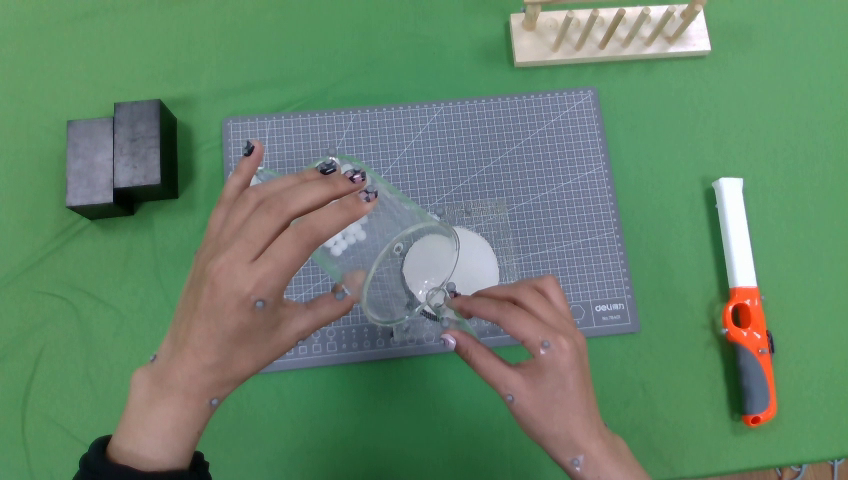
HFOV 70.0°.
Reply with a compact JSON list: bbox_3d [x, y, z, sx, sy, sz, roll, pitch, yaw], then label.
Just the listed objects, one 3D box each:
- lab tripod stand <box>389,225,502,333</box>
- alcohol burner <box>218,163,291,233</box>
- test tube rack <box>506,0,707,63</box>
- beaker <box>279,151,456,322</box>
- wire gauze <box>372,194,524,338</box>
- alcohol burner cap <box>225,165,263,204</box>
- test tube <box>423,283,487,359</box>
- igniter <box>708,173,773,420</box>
[{"bbox_3d":[0.018,0.040,0.615,0.148,0.132,0.147,0,76,0],"label":"lab tripod stand"},{"bbox_3d":[-0.183,-0.050,0.638,0.078,0.119,0.077,0,75,0],"label":"alcohol burner"},{"bbox_3d":[0.226,-0.268,0.718,0.242,0.085,0.066,-4,77,-3],"label":"test tube rack"},{"bbox_3d":[-0.038,-0.006,0.387,0.074,0.085,0.099,-49,57,-3],"label":"beaker"},{"bbox_3d":[0.022,0.022,0.550,0.125,0.011,0.121,-7,76,-4],"label":"wire gauze"},{"bbox_3d":[-0.180,-0.057,0.603,0.034,0.048,0.033,1,79,-5],"label":"alcohol burner cap"},{"bbox_3d":[0.027,0.066,0.459,0.017,0.152,0.017,-7,63,15],"label":"test tube"},{"bbox_3d":[0.353,0.058,0.679,0.057,0.025,0.275,1,77,-12],"label":"igniter"}]
